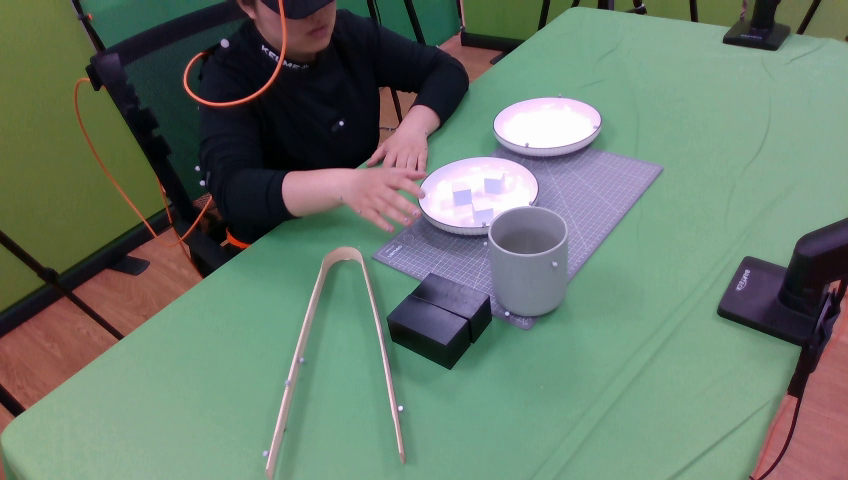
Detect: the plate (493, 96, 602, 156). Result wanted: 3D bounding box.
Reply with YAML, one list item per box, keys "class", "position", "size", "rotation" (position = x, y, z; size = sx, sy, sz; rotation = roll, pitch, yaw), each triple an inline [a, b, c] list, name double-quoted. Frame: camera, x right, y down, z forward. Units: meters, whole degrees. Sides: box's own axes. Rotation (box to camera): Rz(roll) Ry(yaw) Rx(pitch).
- class: "plate"
  position: [0.238, -0.218, 1.179]
  size: [0.209, 0.038, 0.208]
  rotation: [-4, 39, 4]

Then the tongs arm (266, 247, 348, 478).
- class: "tongs arm"
  position: [-0.151, 0.143, 0.831]
  size: [0.051, 0.026, 0.383]
  rotation: [-5, 39, 5]

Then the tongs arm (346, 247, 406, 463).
- class: "tongs arm"
  position: [-0.069, 0.133, 0.833]
  size: [0.028, 0.028, 0.384]
  rotation: [-16, 40, -4]

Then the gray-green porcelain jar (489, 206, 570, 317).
- class: "gray-green porcelain jar"
  position: [0.145, 0.034, 0.829]
  size: [0.106, 0.127, 0.105]
  rotation: [-5, 40, 5]

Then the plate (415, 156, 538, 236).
- class: "plate"
  position: [0.090, -0.072, 1.034]
  size: [0.207, 0.039, 0.206]
  rotation: [-5, 40, 5]
